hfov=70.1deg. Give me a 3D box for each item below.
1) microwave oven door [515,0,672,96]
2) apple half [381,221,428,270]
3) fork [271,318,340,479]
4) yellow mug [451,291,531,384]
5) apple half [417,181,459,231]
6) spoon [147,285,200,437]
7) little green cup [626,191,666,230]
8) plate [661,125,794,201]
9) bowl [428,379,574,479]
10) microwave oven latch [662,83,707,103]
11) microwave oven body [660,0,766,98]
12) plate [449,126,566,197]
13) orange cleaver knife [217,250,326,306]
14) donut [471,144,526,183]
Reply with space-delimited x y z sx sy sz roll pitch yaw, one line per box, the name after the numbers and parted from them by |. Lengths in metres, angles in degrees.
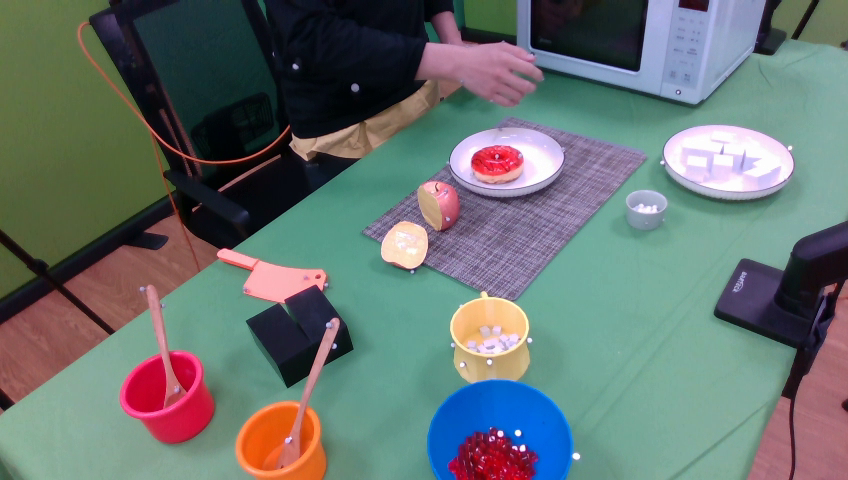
0.343 -0.455 1.259 0.353 0.245 0.039 26 51 33 | microwave oven door
-0.025 0.012 0.946 0.081 0.033 0.081 -5 73 16 | apple half
-0.132 0.186 0.676 0.028 0.019 0.207 18 90 28 | fork
0.085 0.120 0.786 0.100 0.064 0.130 -7 39 1 | yellow mug
0.030 -0.060 0.995 0.053 0.075 0.080 -23 39 -22 | apple half
-0.318 0.148 0.754 0.042 0.021 0.193 -15 85 -10 | spoon
0.352 -0.046 0.963 0.061 0.039 0.061 -4 40 4 | little green cup
0.513 -0.128 1.035 0.207 0.039 0.206 -4 40 4 | plate
0.082 0.233 0.644 0.151 0.077 0.150 -4 40 4 | bowl
0.517 -0.296 1.204 0.078 0.029 0.030 27 52 35 | microwave oven latch
0.472 -0.513 1.317 0.438 0.261 0.327 26 51 34 | microwave oven body
0.150 -0.138 1.097 0.209 0.038 0.208 -4 40 4 | plate
-0.248 0.059 0.945 0.210 0.012 0.077 12 49 20 | orange cleaver knife
0.133 -0.139 1.082 0.099 0.048 0.098 -5 38 5 | donut
